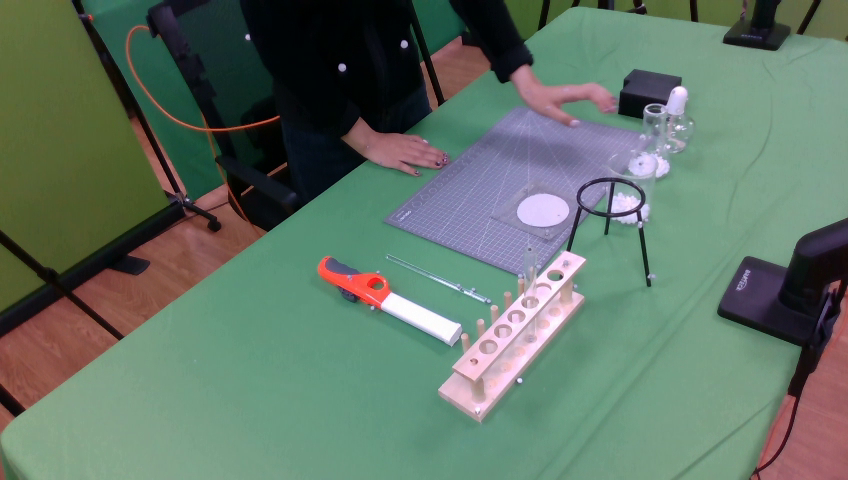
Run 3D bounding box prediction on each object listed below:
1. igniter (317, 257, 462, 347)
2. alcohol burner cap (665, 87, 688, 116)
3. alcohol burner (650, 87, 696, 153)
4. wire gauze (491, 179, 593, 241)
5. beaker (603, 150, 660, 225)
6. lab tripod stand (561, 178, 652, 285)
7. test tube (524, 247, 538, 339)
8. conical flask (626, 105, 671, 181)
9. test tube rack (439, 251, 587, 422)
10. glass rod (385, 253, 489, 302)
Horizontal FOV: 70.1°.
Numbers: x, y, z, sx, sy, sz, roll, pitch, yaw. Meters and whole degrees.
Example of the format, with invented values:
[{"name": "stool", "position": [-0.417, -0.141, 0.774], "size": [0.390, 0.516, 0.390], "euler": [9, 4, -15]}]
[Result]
[{"name": "igniter", "position": [-0.061, 0.086, 0.891], "size": [0.274, 0.025, 0.057], "euler": [23, 59, 33]}, {"name": "alcohol burner cap", "position": [0.445, -0.244, 1.060], "size": [0.034, 0.048, 0.033], "euler": [-2, 45, 3]}, {"name": "alcohol burner", "position": [0.448, -0.217, 1.084], "size": [0.078, 0.119, 0.077], "euler": [-6, 38, 5]}, {"name": "wire gauze", "position": [0.198, -0.051, 1.014], "size": [0.125, 0.011, 0.120], "euler": [-38, 48, -27]}, {"name": "beaker", "position": [0.324, -0.080, 0.957], "size": [0.083, 0.101, 0.074], "euler": [7, 42, 20]}, {"name": "lab tripod stand", "position": [0.263, -0.014, 0.864], "size": [0.148, 0.132, 0.147], "euler": [-7, 38, 6]}, {"name": "test tube", "position": [0.133, 0.070, 0.749], "size": [0.017, 0.151, 0.017], "euler": [-5, 38, 4]}, {"name": "conical flask", "position": [0.388, -0.168, 1.031], "size": [0.075, 0.122, 0.075], "euler": [-6, 40, 5]}, {"name": "test tube rack", "position": [0.118, 0.111, 0.780], "size": [0.066, 0.085, 0.243], "euler": [26, 51, 34]}, {"name": "glass rod", "position": [0.016, 0.055, 0.927], "size": [0.198, 0.008, 0.008], "euler": [23, 50, 32]}]
